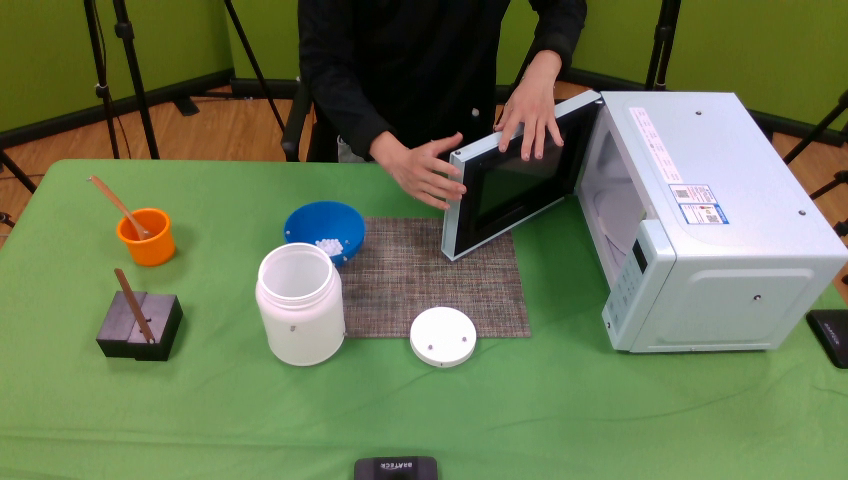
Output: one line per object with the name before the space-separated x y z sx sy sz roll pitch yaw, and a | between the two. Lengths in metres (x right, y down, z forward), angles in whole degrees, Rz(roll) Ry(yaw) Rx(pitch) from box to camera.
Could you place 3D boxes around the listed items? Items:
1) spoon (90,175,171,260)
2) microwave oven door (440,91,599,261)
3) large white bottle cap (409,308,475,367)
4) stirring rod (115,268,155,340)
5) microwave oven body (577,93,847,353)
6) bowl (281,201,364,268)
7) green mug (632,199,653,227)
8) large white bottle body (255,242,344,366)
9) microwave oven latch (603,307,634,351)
spoon | -0.539 -0.042 1.111 0.021 0.194 0.041 -13 27 52
microwave oven door | 0.185 -0.125 1.162 0.356 0.245 0.039 -28 54 -28
large white bottle cap | 0.031 0.166 1.041 0.115 0.018 0.114 2 46 -2
stirring rod | -0.479 0.103 0.999 0.014 0.006 0.175 7 32 -49
microwave oven body | 0.475 -0.041 1.110 0.326 0.261 0.438 -1 45 -4
bowl | -0.187 0.005 1.137 0.151 0.077 0.150 3 46 -3
green mug | 0.456 -0.056 1.153 0.125 0.105 0.092 -17 45 -10
large white bottle body | -0.196 0.102 0.967 0.131 0.185 0.130 2 49 -2
microwave oven latch | 0.332 0.153 1.044 0.030 0.029 0.078 0 45 -3
